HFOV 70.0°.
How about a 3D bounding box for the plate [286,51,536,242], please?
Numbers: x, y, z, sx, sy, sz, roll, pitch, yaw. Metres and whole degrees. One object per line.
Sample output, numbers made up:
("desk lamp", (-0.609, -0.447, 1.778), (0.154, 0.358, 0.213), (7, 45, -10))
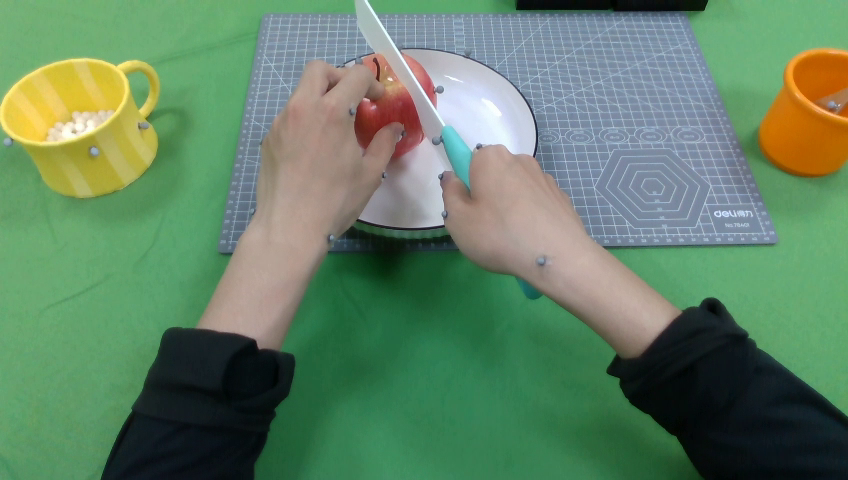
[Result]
("plate", (-0.010, -0.081, 0.519), (0.209, 0.038, 0.207), (1, 56, -1))

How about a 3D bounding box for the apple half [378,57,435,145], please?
("apple half", (-0.010, -0.119, 0.511), (0.033, 0.082, 0.080), (-28, 60, -14))

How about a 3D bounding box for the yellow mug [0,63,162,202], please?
("yellow mug", (-0.277, -0.102, 0.516), (0.099, 0.064, 0.130), (29, 60, 17))

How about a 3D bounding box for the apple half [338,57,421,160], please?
("apple half", (-0.043, -0.102, 0.501), (0.053, 0.075, 0.080), (-30, 68, -11))

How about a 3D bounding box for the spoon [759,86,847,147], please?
("spoon", (0.375, -0.135, 0.496), (0.022, 0.194, 0.041), (27, 43, -37))

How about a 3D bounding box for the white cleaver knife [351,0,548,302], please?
("white cleaver knife", (0.011, -0.077, 0.452), (0.021, 0.066, 0.284), (-27, 71, -7))
